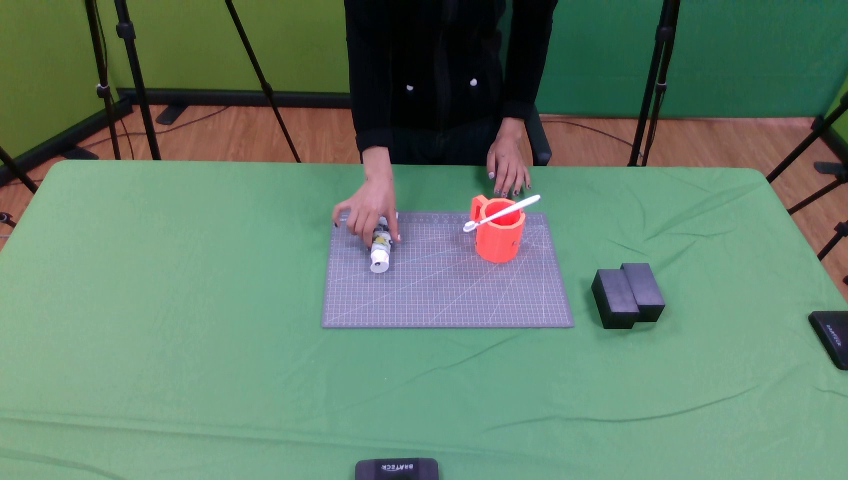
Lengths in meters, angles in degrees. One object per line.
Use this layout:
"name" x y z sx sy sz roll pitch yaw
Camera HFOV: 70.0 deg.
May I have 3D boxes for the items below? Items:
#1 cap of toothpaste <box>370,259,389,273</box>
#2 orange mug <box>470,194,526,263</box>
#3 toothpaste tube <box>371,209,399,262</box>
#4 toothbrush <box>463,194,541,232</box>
"cap of toothpaste" -0.083 0.047 1.132 0.037 0.037 0.011 -7 50 -9
"orange mug" 0.136 -0.030 1.180 0.083 0.101 0.125 -26 58 -26
"toothpaste tube" -0.081 -0.008 1.193 0.055 0.034 0.164 8 42 -6
"toothbrush" 0.149 -0.054 1.131 0.182 0.017 0.014 -23 47 -24
